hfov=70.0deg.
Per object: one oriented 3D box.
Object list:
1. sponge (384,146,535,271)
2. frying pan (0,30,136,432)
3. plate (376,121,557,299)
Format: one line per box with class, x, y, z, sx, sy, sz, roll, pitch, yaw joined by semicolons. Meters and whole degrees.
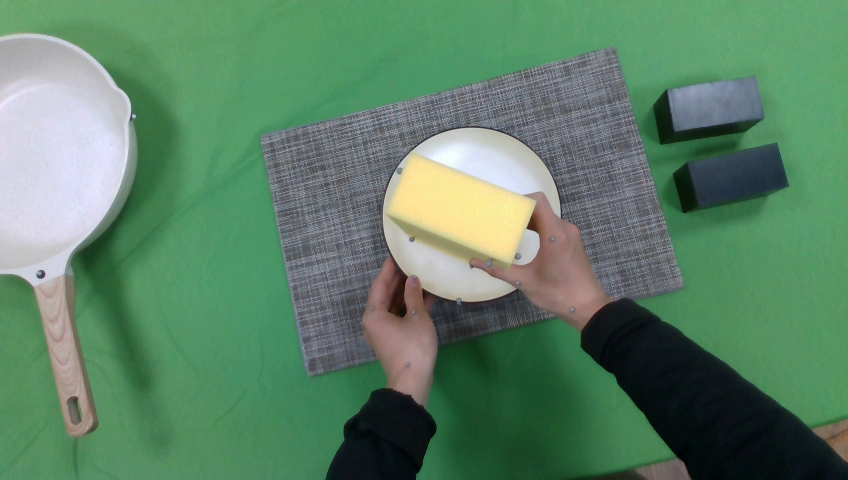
sponge;0.038;-0.022;0.614;0.118;0.207;0.061;21;86;7
frying pan;-0.451;-0.011;0.713;0.307;0.103;0.484;-21;74;3
plate;0.049;-0.033;0.708;0.207;0.039;0.207;0;84;4
